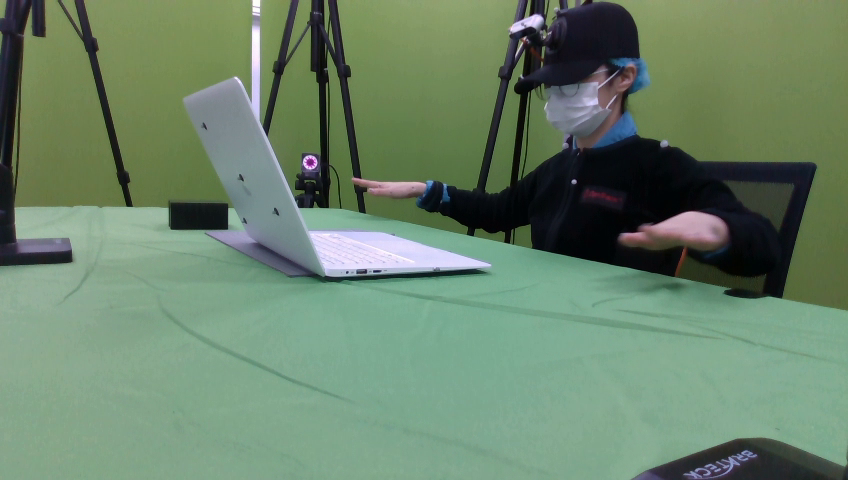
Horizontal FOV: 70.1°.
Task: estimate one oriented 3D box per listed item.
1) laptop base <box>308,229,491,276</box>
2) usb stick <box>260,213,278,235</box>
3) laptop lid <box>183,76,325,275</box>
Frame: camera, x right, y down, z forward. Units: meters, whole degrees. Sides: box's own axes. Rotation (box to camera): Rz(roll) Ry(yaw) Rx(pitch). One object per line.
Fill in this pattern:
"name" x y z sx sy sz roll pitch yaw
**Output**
"laptop base" -0.094 0.015 0.888 0.237 0.023 0.352 2 7 -30
"usb stick" -0.260 -0.025 1.016 0.021 0.027 0.059 1 19 -27
"laptop lid" -0.237 -0.085 0.791 0.013 0.242 0.355 -30 23 -23
